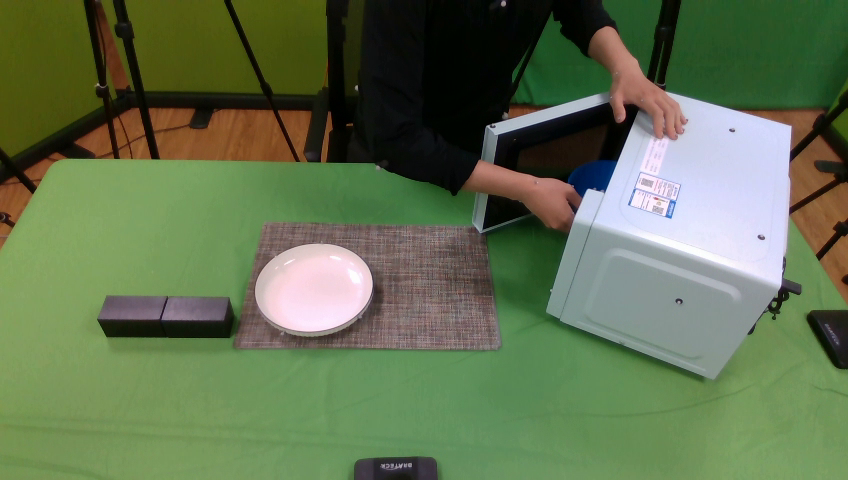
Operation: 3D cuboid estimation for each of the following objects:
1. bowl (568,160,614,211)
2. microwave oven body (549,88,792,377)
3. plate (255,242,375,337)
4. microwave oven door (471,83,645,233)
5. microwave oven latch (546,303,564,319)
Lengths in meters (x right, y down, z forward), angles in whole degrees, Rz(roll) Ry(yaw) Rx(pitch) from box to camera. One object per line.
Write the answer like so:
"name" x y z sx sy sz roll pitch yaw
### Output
"bowl" 0.344 -0.073 1.151 0.151 0.077 0.150 -2 51 2
"microwave oven body" 0.456 -0.028 1.088 0.325 0.261 0.440 20 47 16
"plate" -0.192 0.090 1.079 0.208 0.039 0.206 2 46 -2
"microwave oven door" 0.264 -0.163 1.197 0.356 0.245 0.039 -19 50 -21
"microwave oven latch" 0.242 0.102 1.081 0.030 0.029 0.079 21 48 17
